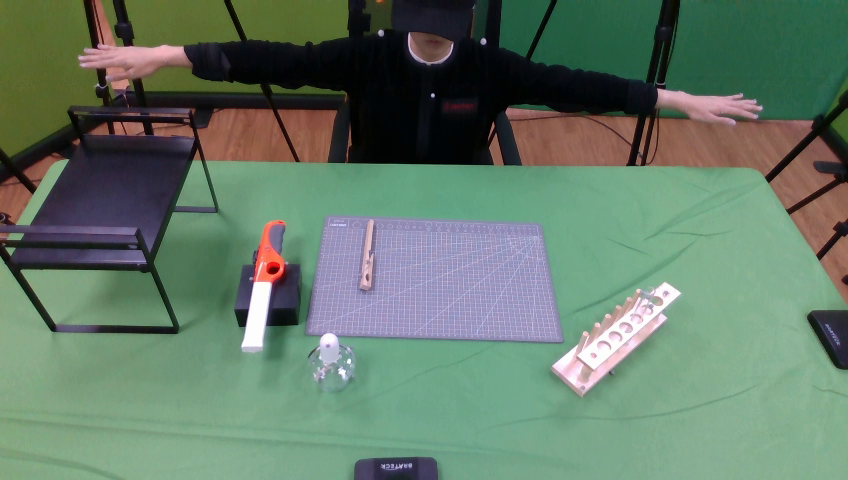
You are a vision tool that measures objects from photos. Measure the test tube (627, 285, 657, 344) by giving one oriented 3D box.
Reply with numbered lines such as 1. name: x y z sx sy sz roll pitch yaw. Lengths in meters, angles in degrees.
1. test tube: 0.349 0.124 0.983 0.017 0.151 0.017 0 49 0

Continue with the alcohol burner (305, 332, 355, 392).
1. alcohol burner: -0.147 0.183 0.943 0.078 0.119 0.077 2 44 -2

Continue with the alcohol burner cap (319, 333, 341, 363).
1. alcohol burner cap: -0.144 0.162 0.921 0.034 0.048 0.033 2 45 -2

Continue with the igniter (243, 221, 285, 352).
1. igniter: -0.273 0.068 1.041 0.057 0.025 0.274 2 48 -6

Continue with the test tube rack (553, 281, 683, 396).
1. test tube rack: 0.329 0.153 1.023 0.242 0.085 0.066 -30 54 -28

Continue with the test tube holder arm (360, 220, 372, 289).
1. test tube holder arm: -0.110 0.024 1.161 0.013 0.015 0.177 28 38 -27

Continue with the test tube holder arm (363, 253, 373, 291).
1. test tube holder arm: -0.104 0.058 1.132 0.010 0.015 0.087 28 38 -27
